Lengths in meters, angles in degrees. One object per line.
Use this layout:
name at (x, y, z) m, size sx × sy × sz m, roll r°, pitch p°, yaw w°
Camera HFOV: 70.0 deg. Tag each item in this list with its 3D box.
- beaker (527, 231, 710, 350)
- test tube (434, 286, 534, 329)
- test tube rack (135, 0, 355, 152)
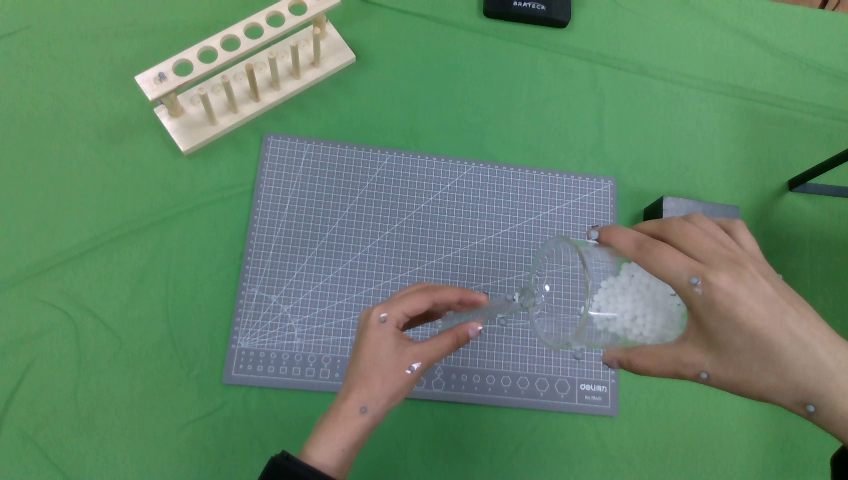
beaker at (0.129, 0.037, 0.407) m, size 0.101 × 0.084 × 0.073 m, roll 6°, pitch 79°, yaw -18°
test tube at (0.044, 0.058, 0.493) m, size 0.017 × 0.150 × 0.017 m, roll 6°, pitch 73°, yaw -22°
test tube rack at (-0.198, -0.206, 0.712) m, size 0.242 × 0.085 × 0.066 m, roll -34°, pitch 82°, yaw -15°
